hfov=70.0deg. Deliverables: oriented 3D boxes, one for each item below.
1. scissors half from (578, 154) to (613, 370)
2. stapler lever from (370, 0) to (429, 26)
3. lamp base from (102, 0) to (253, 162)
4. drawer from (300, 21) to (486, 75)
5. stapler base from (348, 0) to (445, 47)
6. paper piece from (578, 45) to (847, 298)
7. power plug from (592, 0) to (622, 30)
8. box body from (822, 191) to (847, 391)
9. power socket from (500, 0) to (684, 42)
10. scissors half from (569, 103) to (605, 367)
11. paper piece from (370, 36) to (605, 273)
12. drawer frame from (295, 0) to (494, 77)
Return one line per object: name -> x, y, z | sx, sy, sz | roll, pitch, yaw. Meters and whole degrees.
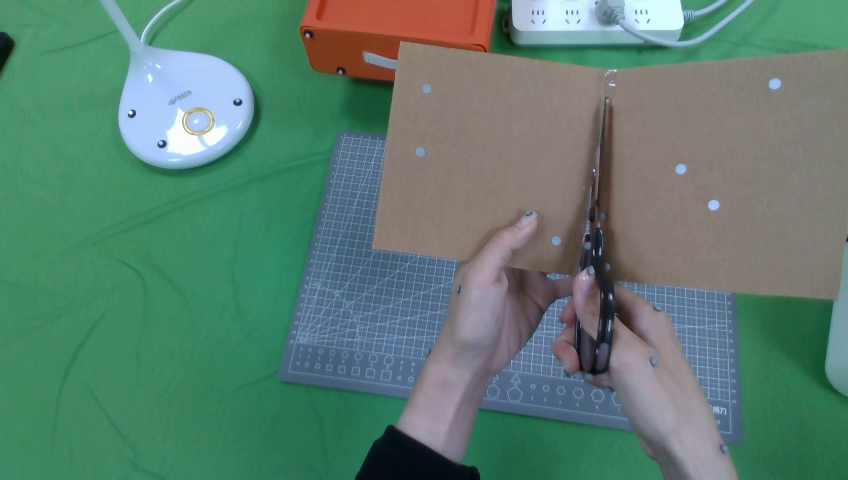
scissors half -> 0.105, -0.010, 0.367 | 0.013, 0.040, 0.174 | 6, 67, 1
stapler lever -> -0.044, -0.278, 0.682 | 0.117, 0.040, 0.027 | 37, 89, 20
lamp base -> -0.299, -0.201, 0.659 | 0.178, 0.181, 0.160 | 39, 73, 20
drawer -> -0.017, -0.290, 0.693 | 0.194, 0.074, 0.210 | 8, 67, 6
stapler base -> -0.035, -0.272, 0.706 | 0.129, 0.024, 0.041 | 37, 89, 19
paper piece -> 0.162, -0.043, 0.351 | 0.134, 0.004, 0.135 | 9, 93, 31
power plug -> 0.217, -0.267, 0.725 | 0.035, 0.053, 0.072 | 11, 68, 7
box body -> 0.547, -0.001, 0.554 | 0.253, 0.161, 0.362 | 20, 69, 10
power socket -> 0.210, -0.285, 0.757 | 0.227, 0.033, 0.071 | 1, 68, 2
scissors half -> 0.106, -0.006, 0.389 | 0.013, 0.040, 0.175 | 6, 94, 6
paper piece -> 0.041, -0.055, 0.385 | 0.136, 0.008, 0.138 | 8, 92, 3
drawer frame -> -0.019, -0.292, 0.694 | 0.201, 0.083, 0.212 | 7, 67, 6
